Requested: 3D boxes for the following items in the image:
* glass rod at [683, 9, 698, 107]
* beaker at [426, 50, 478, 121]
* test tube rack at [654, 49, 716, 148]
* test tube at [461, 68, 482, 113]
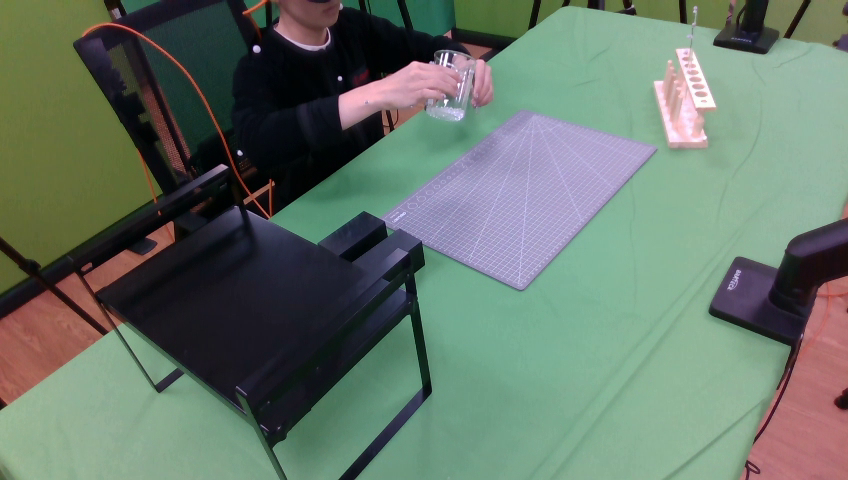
[{"bbox_3d":[0.501,-0.336,1.139,0.008,0.201,0.008,-8,42,8],"label":"glass rod"},{"bbox_3d":[0.046,-0.257,1.023,0.073,0.100,0.084,12,0,17],"label":"beaker"},{"bbox_3d":[0.502,-0.281,1.176,0.066,0.085,0.241,2,41,11],"label":"test tube rack"},{"bbox_3d":[0.091,-0.278,1.139,0.017,0.151,0.017,-4,73,14],"label":"test tube"}]
